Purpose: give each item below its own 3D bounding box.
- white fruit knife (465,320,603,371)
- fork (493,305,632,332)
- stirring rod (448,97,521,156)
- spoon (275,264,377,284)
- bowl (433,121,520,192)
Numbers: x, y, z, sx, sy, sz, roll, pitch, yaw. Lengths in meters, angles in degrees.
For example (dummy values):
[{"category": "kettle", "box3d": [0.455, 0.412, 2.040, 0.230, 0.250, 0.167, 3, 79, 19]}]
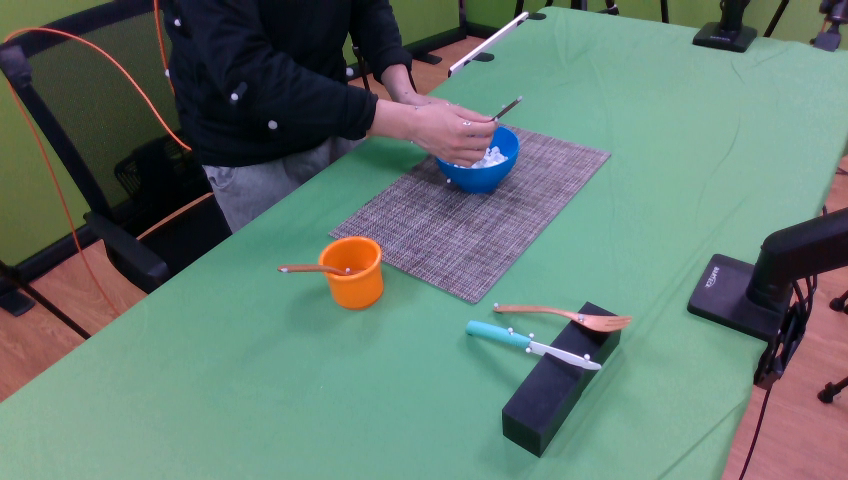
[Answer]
[{"category": "white fruit knife", "box3d": [0.128, 0.129, 0.749, 0.205, 0.027, 0.016, 10, 44, 43]}, {"category": "fork", "box3d": [0.171, 0.097, 0.782, 0.205, 0.019, 0.028, 4, 40, 43]}, {"category": "stirring rod", "box3d": [0.093, -0.177, 0.963, 0.014, 0.175, 0.006, -31, 88, -42]}, {"category": "spoon", "box3d": [-0.133, 0.044, 0.839, 0.041, 0.021, 0.195, 25, 5, 33]}, {"category": "bowl", "box3d": [0.094, -0.137, 1.064, 0.151, 0.077, 0.150, -4, 41, 4]}]
